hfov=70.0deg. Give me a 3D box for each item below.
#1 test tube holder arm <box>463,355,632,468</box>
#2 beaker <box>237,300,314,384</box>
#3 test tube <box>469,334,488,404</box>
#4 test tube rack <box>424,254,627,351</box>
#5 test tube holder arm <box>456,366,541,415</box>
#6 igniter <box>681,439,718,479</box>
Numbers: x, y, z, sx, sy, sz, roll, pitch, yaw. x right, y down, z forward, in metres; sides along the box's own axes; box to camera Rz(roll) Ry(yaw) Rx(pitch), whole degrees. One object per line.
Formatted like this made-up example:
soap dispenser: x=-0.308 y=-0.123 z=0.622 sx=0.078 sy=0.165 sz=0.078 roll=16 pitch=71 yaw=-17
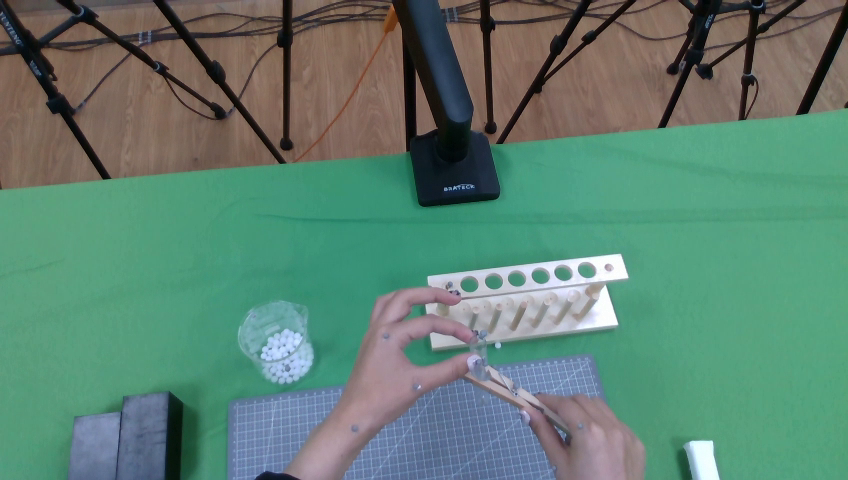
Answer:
test tube holder arm: x=0.114 y=0.160 z=0.574 sx=0.177 sy=0.015 sz=0.013 roll=29 pitch=70 yaw=16
beaker: x=-0.167 y=0.122 z=0.712 sx=0.084 sy=0.101 sz=0.073 roll=-38 pitch=69 yaw=-21
test tube: x=0.054 y=0.129 z=0.588 sx=0.017 sy=0.151 sz=0.017 roll=-3 pitch=56 yaw=5
test tube rack: x=0.125 y=0.079 z=0.757 sx=0.243 sy=0.086 sz=0.066 roll=-6 pitch=61 yaw=-6
test tube holder arm: x=0.072 y=0.145 z=0.583 sx=0.087 sy=0.015 sz=0.010 roll=22 pitch=68 yaw=13
igniter: x=0.322 y=0.355 z=0.646 sx=0.057 sy=0.025 sz=0.274 roll=4 pitch=61 yaw=-11
